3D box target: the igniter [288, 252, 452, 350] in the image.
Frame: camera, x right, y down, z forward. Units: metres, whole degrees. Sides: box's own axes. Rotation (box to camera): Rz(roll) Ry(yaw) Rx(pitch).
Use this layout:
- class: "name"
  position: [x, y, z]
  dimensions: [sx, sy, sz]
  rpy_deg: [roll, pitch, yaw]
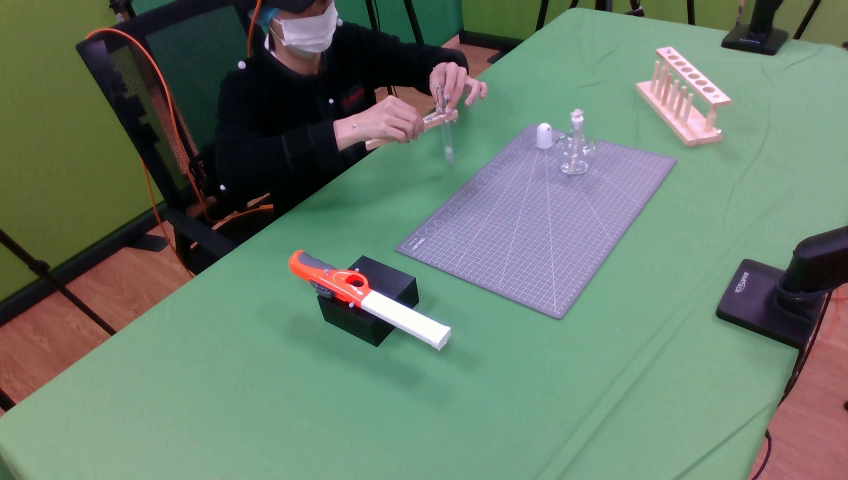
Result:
- class: "igniter"
  position: [-0.084, 0.077, 0.821]
  dimensions: [0.274, 0.025, 0.057]
  rpy_deg: [23, 48, 27]

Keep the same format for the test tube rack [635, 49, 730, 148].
- class: "test tube rack"
  position: [0.497, -0.283, 1.185]
  dimensions: [0.067, 0.085, 0.240]
  rpy_deg: [-10, 40, -2]

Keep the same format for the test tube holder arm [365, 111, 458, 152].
- class: "test tube holder arm"
  position: [-0.019, -0.185, 1.019]
  dimensions: [0.179, 0.015, 0.013]
  rpy_deg: [-25, 44, -23]

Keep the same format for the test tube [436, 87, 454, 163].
- class: "test tube"
  position: [0.037, -0.199, 1.063]
  dimensions: [0.017, 0.151, 0.017]
  rpy_deg: [-6, 42, 6]

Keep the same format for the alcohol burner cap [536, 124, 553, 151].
- class: "alcohol burner cap"
  position: [0.232, -0.199, 1.158]
  dimensions: [0.034, 0.048, 0.033]
  rpy_deg: [-5, 41, 4]

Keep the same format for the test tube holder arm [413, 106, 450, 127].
- class: "test tube holder arm"
  position: [0.012, -0.207, 1.042]
  dimensions: [0.010, 0.015, 0.088]
  rpy_deg: [28, 50, 32]

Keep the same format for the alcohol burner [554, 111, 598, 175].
- class: "alcohol burner"
  position: [0.270, -0.175, 1.066]
  dimensions: [0.078, 0.119, 0.077]
  rpy_deg: [-4, 42, 4]
